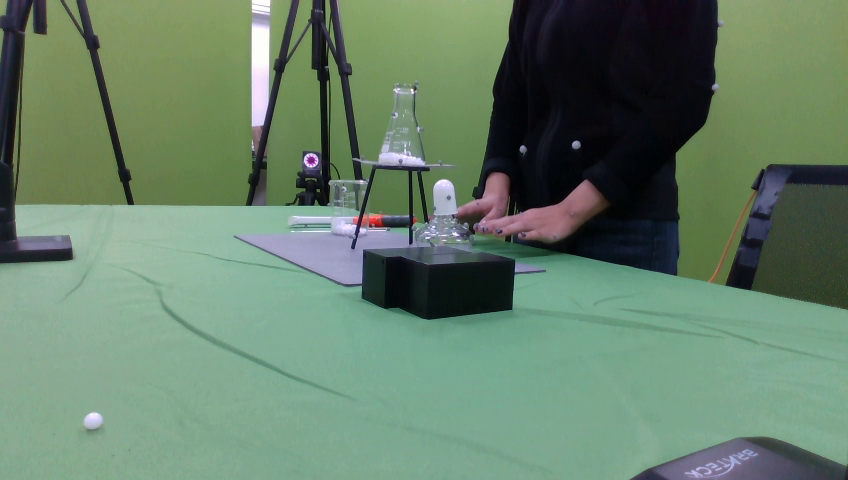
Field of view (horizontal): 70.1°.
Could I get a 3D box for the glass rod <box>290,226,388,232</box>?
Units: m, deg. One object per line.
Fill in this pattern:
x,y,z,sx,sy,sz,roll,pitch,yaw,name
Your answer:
-0.161,-0.022,1.177,0.201,0.008,0.008,-2,8,-28,glass rod

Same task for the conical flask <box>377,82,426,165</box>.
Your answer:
-0.032,-0.175,0.918,0.075,0.122,0.075,3,8,0,conical flask

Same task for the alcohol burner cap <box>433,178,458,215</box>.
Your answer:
0.026,-0.056,0.777,0.034,0.048,0.034,-6,9,1,alcohol burner cap

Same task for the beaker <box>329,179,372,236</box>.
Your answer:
-0.137,-0.061,1.101,0.084,0.100,0.074,5,7,20,beaker

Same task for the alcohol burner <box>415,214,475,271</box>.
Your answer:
0.027,-0.020,0.783,0.078,0.119,0.078,1,8,0,alcohol burner

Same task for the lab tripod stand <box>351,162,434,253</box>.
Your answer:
-0.034,-0.052,0.933,0.148,0.131,0.148,4,7,0,lab tripod stand

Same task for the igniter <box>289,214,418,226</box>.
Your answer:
-0.141,-0.042,1.258,0.278,0.025,0.057,-1,-2,-30,igniter

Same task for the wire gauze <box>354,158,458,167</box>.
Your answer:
-0.029,-0.117,0.927,0.122,0.011,0.124,0,5,-36,wire gauze
